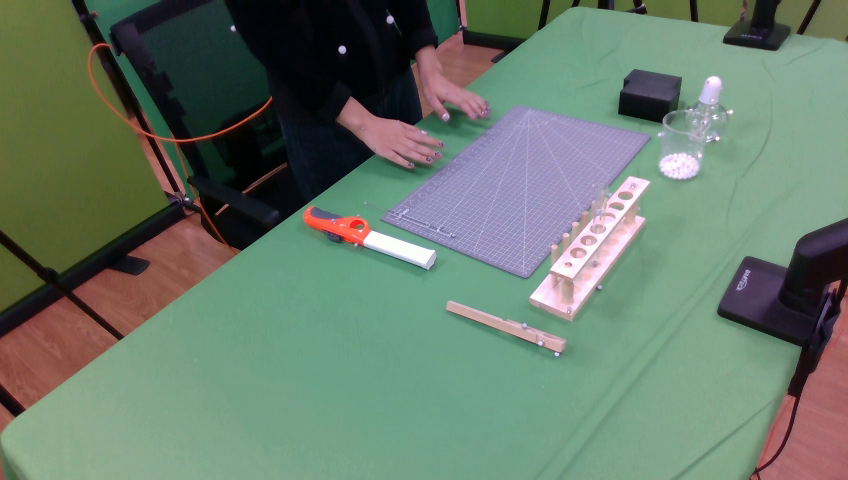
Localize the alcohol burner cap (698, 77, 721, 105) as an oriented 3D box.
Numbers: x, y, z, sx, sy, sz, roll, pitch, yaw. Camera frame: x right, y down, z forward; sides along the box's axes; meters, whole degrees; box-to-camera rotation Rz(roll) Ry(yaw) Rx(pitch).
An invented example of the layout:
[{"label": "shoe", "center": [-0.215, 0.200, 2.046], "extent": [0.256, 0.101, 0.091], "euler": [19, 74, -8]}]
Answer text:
[{"label": "alcohol burner cap", "center": [0.509, -0.266, 1.072], "extent": [0.034, 0.048, 0.033], "euler": [-4, 48, 5]}]

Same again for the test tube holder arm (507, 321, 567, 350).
[{"label": "test tube holder arm", "center": [0.148, 0.128, 0.808], "extent": [0.087, 0.015, 0.010], "euler": [16, 11, 28]}]

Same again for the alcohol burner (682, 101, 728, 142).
[{"label": "alcohol burner", "center": [0.513, -0.239, 1.097], "extent": [0.078, 0.119, 0.077], "euler": [-4, 40, 4]}]

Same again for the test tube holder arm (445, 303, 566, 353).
[{"label": "test tube holder arm", "center": [0.107, 0.117, 0.824], "extent": [0.177, 0.015, 0.013], "euler": [16, 11, 27]}]

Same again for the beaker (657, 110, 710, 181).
[{"label": "beaker", "center": [0.438, -0.156, 1.024], "extent": [0.074, 0.101, 0.083], "euler": [-14, 41, -4]}]

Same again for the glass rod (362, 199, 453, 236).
[{"label": "glass rod", "center": [-0.031, -0.041, 1.041], "extent": [0.198, 0.008, 0.008], "euler": [22, 50, 31]}]

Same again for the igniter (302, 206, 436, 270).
[{"label": "igniter", "center": [-0.101, -0.007, 1.004], "extent": [0.274, 0.025, 0.057], "euler": [19, 58, 29]}]

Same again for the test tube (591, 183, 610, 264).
[{"label": "test tube", "center": [0.242, -0.019, 0.832], "extent": [0.017, 0.151, 0.017], "euler": [-5, 46, 6]}]

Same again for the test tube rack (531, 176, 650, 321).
[{"label": "test tube rack", "center": [0.246, 0.002, 0.884], "extent": [0.066, 0.085, 0.243], "euler": [22, 49, 32]}]
